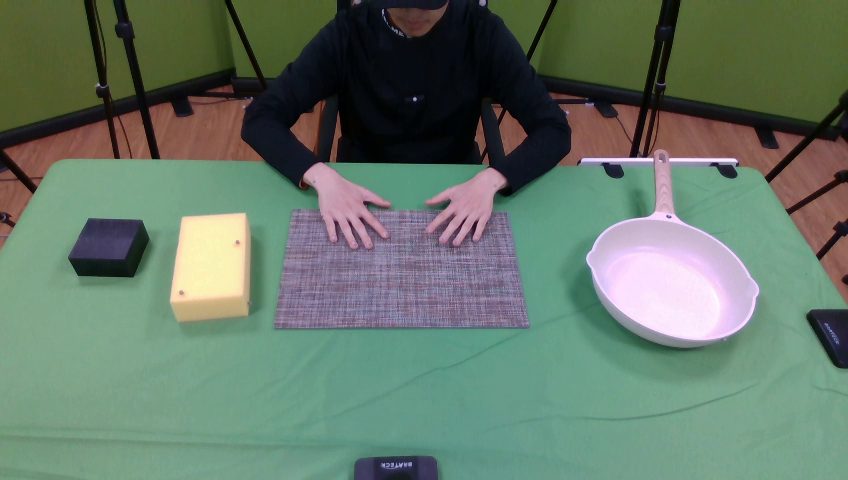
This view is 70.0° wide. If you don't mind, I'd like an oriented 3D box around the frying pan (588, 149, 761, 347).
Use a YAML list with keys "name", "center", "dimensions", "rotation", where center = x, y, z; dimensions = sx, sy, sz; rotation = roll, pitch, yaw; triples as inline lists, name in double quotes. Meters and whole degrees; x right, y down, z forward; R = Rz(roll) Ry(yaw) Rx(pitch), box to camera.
- name: "frying pan"
  center: [0.471, -0.003, 1.174]
  dimensions: [0.307, 0.103, 0.485]
  rotation: [11, 55, 6]

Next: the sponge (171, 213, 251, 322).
- name: "sponge"
  center: [-0.380, 0.045, 1.099]
  dimensions: [0.118, 0.061, 0.205]
  rotation: [-6, 47, -9]
